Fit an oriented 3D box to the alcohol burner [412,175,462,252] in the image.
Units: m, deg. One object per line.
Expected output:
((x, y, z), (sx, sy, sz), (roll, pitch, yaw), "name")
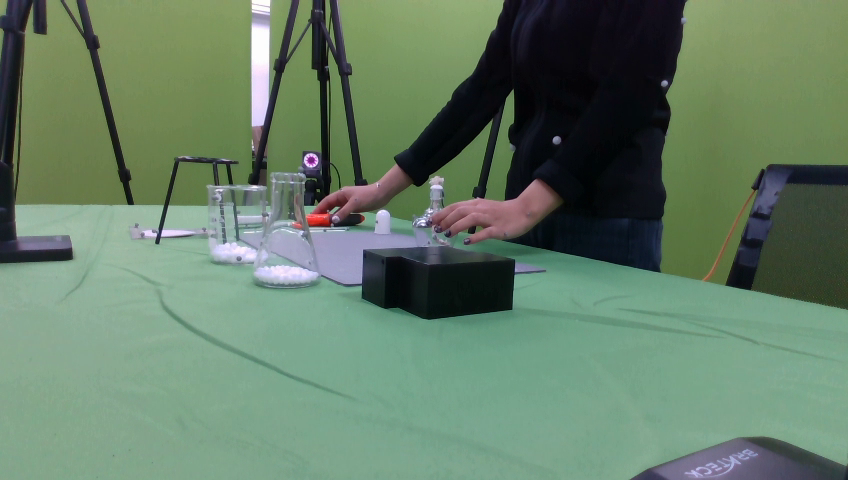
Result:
((0.020, -0.041, 0.948), (0.078, 0.119, 0.078), (0, 7, 0), "alcohol burner")

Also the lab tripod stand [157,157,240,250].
((-0.322, -0.057, 0.905), (0.148, 0.131, 0.148), (4, 7, 0), "lab tripod stand")

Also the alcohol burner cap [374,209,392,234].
((-0.078, -0.036, 1.148), (0.034, 0.048, 0.034), (2, 7, 0), "alcohol burner cap")

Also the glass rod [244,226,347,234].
((-0.239, -0.020, 1.146), (0.201, 0.008, 0.008), (-3, 9, -29), "glass rod")

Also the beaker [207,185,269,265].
((-0.244, -0.021, 0.784), (0.083, 0.100, 0.074), (6, 8, 30), "beaker")

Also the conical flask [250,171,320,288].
((-0.150, -0.013, 0.658), (0.075, 0.122, 0.075), (2, 7, 0), "conical flask")

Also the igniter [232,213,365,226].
((-0.246, -0.042, 1.223), (0.278, 0.025, 0.057), (-3, -1, -36), "igniter")

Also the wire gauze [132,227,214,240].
((-0.425, -0.013, 1.018), (0.122, 0.011, 0.124), (-1, 6, -28), "wire gauze")
